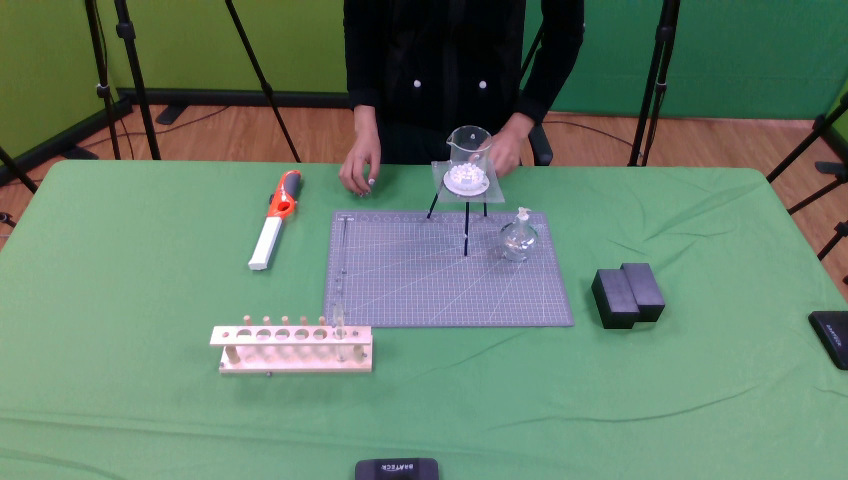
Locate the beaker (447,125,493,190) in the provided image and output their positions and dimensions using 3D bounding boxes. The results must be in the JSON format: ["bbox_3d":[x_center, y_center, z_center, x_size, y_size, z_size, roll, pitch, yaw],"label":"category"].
[{"bbox_3d":[0.079,-0.148,1.106,0.084,0.101,0.073,-3,47,-7],"label":"beaker"}]

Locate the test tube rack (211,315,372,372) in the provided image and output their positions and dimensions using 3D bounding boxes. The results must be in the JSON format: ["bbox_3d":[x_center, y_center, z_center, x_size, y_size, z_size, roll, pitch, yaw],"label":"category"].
[{"bbox_3d":[-0.208,0.163,0.982,0.242,0.085,0.066,1,46,-4],"label":"test tube rack"}]

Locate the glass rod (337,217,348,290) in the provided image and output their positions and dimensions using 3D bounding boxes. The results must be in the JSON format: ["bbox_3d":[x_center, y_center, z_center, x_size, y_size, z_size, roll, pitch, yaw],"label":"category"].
[{"bbox_3d":[-0.158,0.022,1.172,0.008,0.008,0.198,1,43,-2],"label":"glass rod"}]

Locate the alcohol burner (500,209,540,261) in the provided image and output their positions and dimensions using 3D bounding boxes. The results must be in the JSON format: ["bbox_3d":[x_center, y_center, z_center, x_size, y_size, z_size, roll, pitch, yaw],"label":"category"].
[{"bbox_3d":[0.185,-0.016,1.159,0.078,0.120,0.077,2,48,-2],"label":"alcohol burner"}]

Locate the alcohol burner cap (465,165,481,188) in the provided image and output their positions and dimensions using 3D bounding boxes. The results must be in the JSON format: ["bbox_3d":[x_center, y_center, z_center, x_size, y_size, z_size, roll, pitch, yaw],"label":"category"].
[{"bbox_3d":[0.104,-0.137,1.286,0.034,0.048,0.033,0,43,0],"label":"alcohol burner cap"}]

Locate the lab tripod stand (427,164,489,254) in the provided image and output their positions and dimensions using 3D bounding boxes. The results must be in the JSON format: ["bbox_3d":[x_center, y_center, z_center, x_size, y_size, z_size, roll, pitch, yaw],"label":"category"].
[{"bbox_3d":[0.078,-0.068,1.188,0.148,0.132,0.147,3,47,-3],"label":"lab tripod stand"}]

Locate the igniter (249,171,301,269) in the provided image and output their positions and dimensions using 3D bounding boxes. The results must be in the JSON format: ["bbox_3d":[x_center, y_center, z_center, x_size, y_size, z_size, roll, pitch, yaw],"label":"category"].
[{"bbox_3d":[-0.297,-0.049,1.220,0.057,0.025,0.275,-1,45,9],"label":"igniter"}]

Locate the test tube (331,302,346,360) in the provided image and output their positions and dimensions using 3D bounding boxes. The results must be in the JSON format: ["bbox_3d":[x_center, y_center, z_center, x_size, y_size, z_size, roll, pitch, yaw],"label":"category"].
[{"bbox_3d":[-0.132,0.144,0.938,0.017,0.151,0.017,2,49,-3],"label":"test tube"}]

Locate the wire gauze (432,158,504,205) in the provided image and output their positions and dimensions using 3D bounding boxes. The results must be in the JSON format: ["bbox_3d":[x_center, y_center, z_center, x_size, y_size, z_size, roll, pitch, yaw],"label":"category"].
[{"bbox_3d":[0.081,-0.111,1.138,0.125,0.011,0.120,0,48,-7],"label":"wire gauze"}]
